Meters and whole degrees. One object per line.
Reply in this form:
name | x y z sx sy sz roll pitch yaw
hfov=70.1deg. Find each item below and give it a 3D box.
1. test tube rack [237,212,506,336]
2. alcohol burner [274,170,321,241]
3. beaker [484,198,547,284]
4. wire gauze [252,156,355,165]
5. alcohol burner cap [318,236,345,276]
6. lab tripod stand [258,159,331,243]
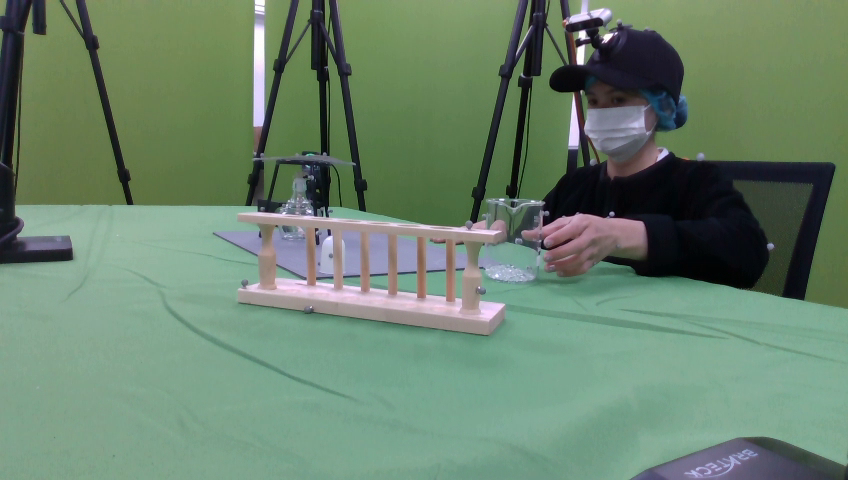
test tube rack | -0.049 0.024 0.552 0.242 0.085 0.067 5 8 18
alcohol burner | -0.212 -0.058 1.015 0.078 0.119 0.078 4 5 0
beaker | 0.111 0.000 0.744 0.074 0.100 0.084 3 8 9
wire gauze | -0.196 -0.133 0.999 0.121 0.011 0.125 4 6 22
alcohol burner cap | -0.110 0.019 0.723 0.034 0.048 0.034 2 6 0
lab tripod stand | -0.202 -0.067 1.010 0.148 0.131 0.148 2 5 0
